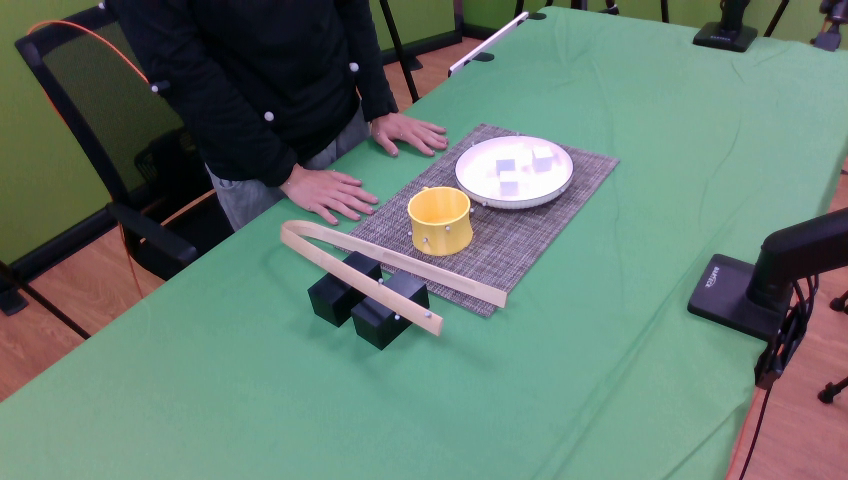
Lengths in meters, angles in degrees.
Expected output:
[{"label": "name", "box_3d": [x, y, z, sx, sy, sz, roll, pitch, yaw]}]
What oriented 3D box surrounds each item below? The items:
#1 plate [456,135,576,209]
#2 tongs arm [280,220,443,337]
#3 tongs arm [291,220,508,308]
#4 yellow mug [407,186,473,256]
[{"label": "plate", "box_3d": [0.161, -0.116, 1.064, 0.207, 0.039, 0.206, -4, 40, 4]}, {"label": "tongs arm", "box_3d": [-0.101, 0.043, 0.861, 0.381, 0.026, 0.051, 24, 24, 38]}, {"label": "tongs arm", "box_3d": [-0.049, 0.031, 0.924, 0.385, 0.028, 0.028, 18, 25, 26]}, {"label": "yellow mug", "box_3d": [0.021, -0.041, 0.973, 0.100, 0.064, 0.129, -19, 41, -12]}]
